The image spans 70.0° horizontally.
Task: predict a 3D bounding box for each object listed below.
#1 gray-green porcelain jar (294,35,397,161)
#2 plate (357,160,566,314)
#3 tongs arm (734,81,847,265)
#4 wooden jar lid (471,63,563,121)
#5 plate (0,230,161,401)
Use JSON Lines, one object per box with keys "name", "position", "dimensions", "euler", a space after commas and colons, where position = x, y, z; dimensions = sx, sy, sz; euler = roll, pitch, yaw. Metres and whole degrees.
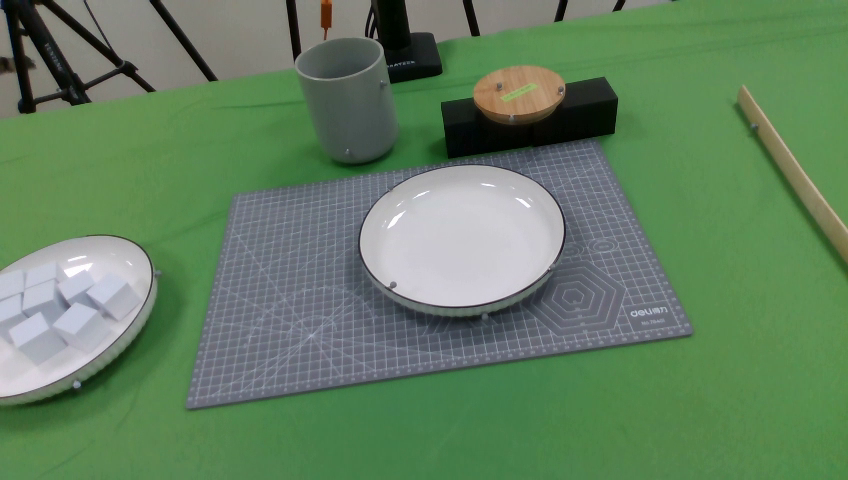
{"name": "gray-green porcelain jar", "position": [-0.091, -0.170, 0.746], "dimensions": [0.106, 0.128, 0.105], "euler": [-5, 44, 6]}
{"name": "plate", "position": [0.037, -0.004, 0.615], "dimensions": [0.209, 0.038, 0.207], "euler": [-5, 45, 6]}
{"name": "tongs arm", "position": [0.395, -0.053, 0.612], "dimensions": [0.028, 0.028, 0.383], "euler": [-5, 44, 2]}
{"name": "wooden jar lid", "position": [0.111, -0.175, 0.720], "dimensions": [0.108, 0.021, 0.107], "euler": [-4, 46, 5]}
{"name": "plate", "position": [-0.367, 0.074, 0.613], "dimensions": [0.207, 0.039, 0.205], "euler": [-5, 45, 5]}
